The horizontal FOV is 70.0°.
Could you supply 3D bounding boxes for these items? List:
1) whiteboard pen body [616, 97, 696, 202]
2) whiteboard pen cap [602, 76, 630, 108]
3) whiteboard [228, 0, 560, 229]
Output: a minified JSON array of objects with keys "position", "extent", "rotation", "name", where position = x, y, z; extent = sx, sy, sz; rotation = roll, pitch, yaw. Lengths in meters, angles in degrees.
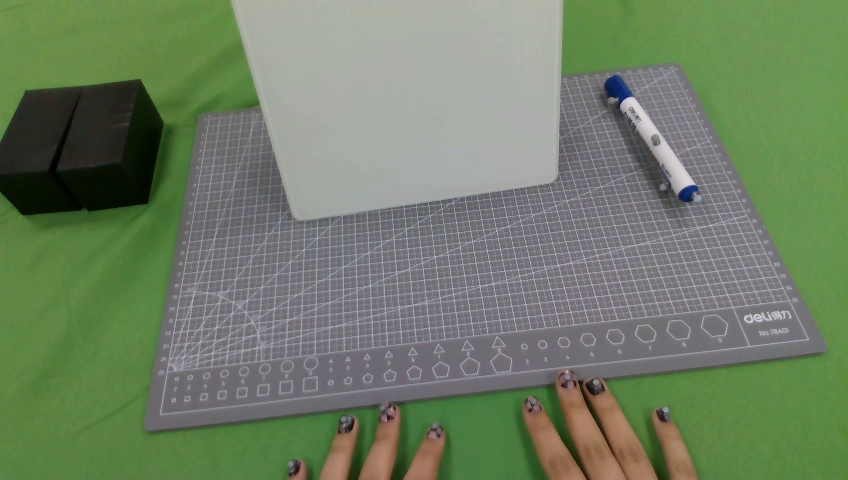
[{"position":[0.185,-0.085,0.501],"extent":[0.017,0.017,0.139],"rotation":[-13,53,-6],"name":"whiteboard pen body"},{"position":[0.171,-0.129,0.537],"extent":[0.018,0.018,0.033],"rotation":[-12,53,-5],"name":"whiteboard pen cap"},{"position":[-0.021,-0.188,0.452],"extent":[0.217,0.308,0.142],"rotation":[-8,35,-1],"name":"whiteboard"}]
